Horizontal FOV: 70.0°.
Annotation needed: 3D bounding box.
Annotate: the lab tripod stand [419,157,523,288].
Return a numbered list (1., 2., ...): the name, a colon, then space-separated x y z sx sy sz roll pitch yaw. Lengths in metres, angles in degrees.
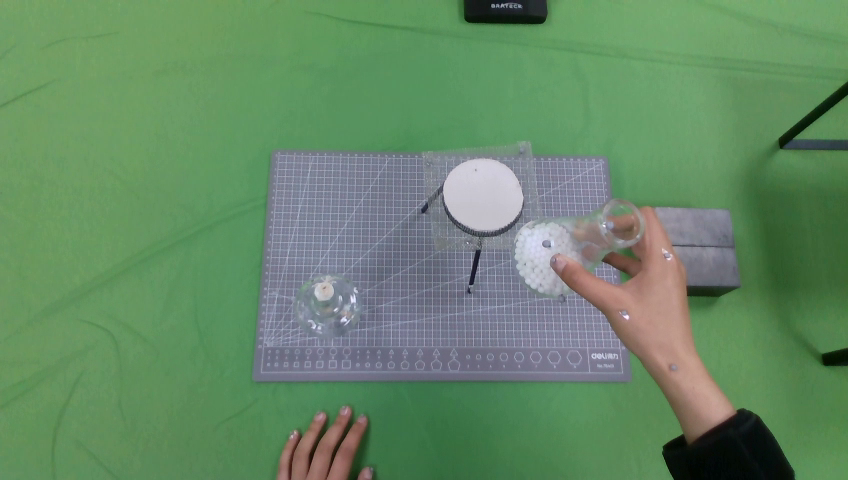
1. lab tripod stand: 0.062 -0.032 0.713 0.148 0.132 0.147 1 70 -3

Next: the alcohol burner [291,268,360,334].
1. alcohol burner: -0.112 0.065 0.682 0.078 0.119 0.077 2 70 -5

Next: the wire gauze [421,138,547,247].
1. wire gauze: 0.063 -0.051 0.649 0.125 0.011 0.120 -4 72 -5

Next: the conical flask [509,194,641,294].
1. conical flask: 0.128 -0.002 0.502 0.075 0.122 0.075 5 73 -17
